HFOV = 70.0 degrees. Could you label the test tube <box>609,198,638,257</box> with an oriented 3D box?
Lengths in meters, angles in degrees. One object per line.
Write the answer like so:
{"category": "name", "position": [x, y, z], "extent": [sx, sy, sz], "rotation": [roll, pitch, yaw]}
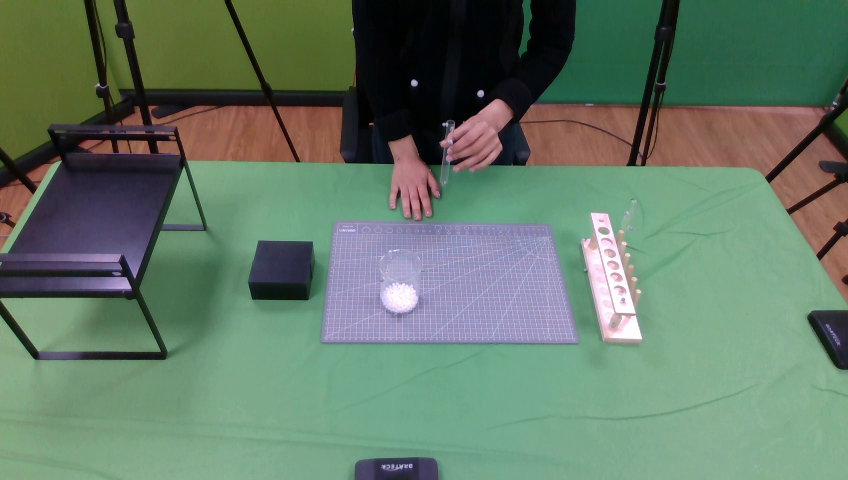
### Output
{"category": "test tube", "position": [0.375, -0.021, 1.141], "extent": [0.017, 0.151, 0.017], "rotation": [2, 45, -2]}

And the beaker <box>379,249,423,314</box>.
{"category": "beaker", "position": [-0.044, 0.074, 1.066], "extent": [0.074, 0.101, 0.083], "rotation": [-22, 51, -23]}

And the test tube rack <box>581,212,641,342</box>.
{"category": "test tube rack", "position": [0.351, 0.063, 1.121], "extent": [0.067, 0.085, 0.241], "rotation": [2, 46, -1]}

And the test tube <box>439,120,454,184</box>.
{"category": "test tube", "position": [0.043, -0.163, 1.146], "extent": [0.017, 0.151, 0.017], "rotation": [3, 48, -3]}
